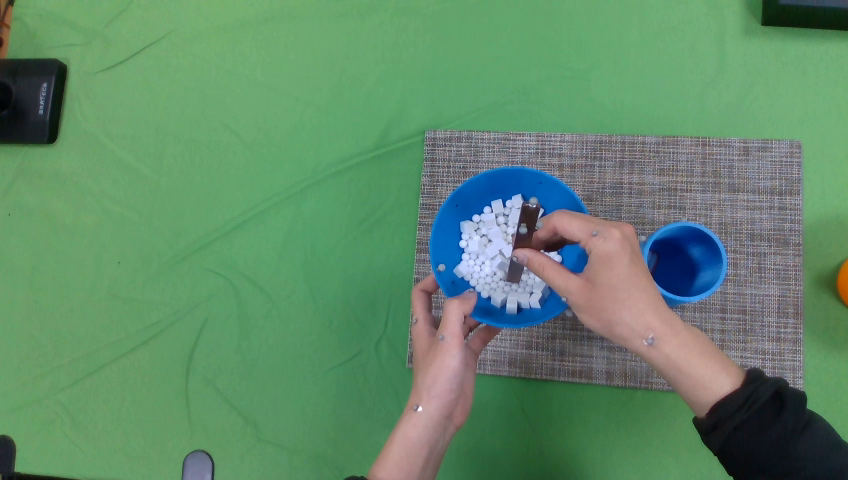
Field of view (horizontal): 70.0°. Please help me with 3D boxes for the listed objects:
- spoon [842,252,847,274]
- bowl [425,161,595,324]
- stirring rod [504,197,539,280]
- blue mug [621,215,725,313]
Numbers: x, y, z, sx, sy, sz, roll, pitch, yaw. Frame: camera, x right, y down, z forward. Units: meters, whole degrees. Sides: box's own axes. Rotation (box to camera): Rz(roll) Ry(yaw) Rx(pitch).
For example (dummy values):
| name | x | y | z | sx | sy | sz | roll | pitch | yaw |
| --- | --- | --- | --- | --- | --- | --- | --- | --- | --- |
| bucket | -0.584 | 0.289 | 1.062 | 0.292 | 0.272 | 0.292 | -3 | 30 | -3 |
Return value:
| name | x | y | z | sx | sy | sz | roll | pitch | yaw |
| --- | --- | --- | --- | --- | --- | --- | --- | --- | --- |
| spoon | 0.532 | 0.039 | 0.610 | 0.022 | 0.192 | 0.041 | 29 | 84 | -34 |
| bowl | 0.083 | 0.008 | 0.578 | 0.151 | 0.077 | 0.150 | -2 | 78 | 10 |
| stirring rod | 0.079 | 0.004 | 0.501 | 0.014 | 0.177 | 0.006 | 1 | 68 | 4 |
| blue mug | 0.257 | 0.035 | 0.662 | 0.082 | 0.106 | 0.116 | 41 | 89 | 11 |
